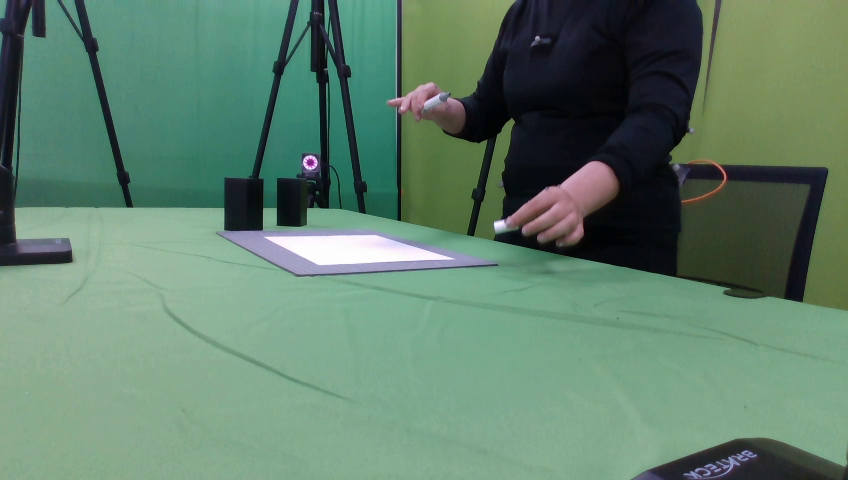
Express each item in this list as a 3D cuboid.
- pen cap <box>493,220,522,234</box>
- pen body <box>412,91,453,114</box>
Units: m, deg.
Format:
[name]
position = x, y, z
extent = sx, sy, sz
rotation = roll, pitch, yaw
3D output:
[pen cap]
position = 0.114, -0.018, 0.823
extent = 0.038, 0.017, 0.017
rotation = -8, 5, 12
[pen body]
position = 0.016, -0.252, 1.107
extent = 0.017, 0.017, 0.143
rotation = -1, -2, -27
